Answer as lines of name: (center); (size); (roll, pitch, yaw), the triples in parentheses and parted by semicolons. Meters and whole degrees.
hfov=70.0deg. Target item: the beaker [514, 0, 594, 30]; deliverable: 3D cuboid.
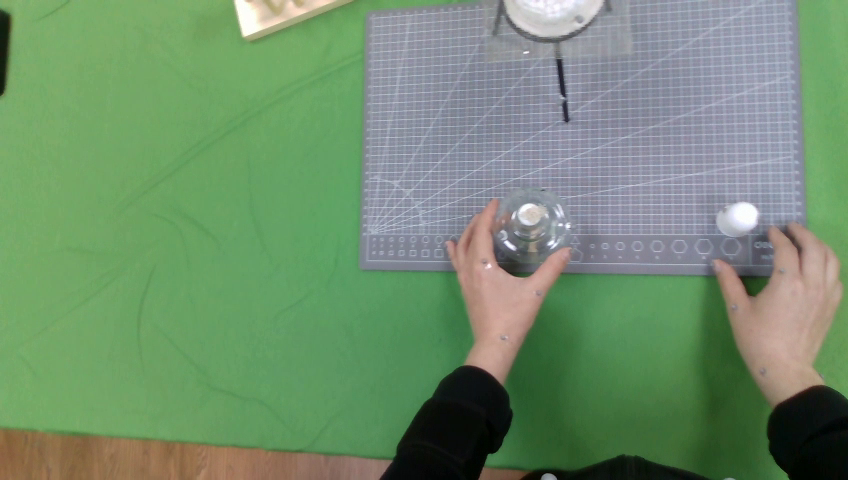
beaker: (0.099, -0.218, 0.475); (0.083, 0.101, 0.074); (14, 88, 15)

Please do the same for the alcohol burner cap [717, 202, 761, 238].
alcohol burner cap: (0.300, -0.021, 0.573); (0.034, 0.048, 0.034); (-1, 83, 13)

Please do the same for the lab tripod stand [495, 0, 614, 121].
lab tripod stand: (0.130, -0.204, 0.584); (0.148, 0.132, 0.148); (-1, 85, 12)

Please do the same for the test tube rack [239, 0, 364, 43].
test tube rack: (-0.113, -0.309, 0.680); (0.242, 0.085, 0.066); (-17, 80, 11)

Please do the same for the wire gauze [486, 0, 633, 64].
wire gauze: (0.115, -0.212, 0.521); (0.125, 0.011, 0.121); (0, 88, 11)

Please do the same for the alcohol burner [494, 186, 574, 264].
alcohol burner: (0.105, -0.017, 0.582); (0.078, 0.119, 0.077); (-1, 83, 12)
